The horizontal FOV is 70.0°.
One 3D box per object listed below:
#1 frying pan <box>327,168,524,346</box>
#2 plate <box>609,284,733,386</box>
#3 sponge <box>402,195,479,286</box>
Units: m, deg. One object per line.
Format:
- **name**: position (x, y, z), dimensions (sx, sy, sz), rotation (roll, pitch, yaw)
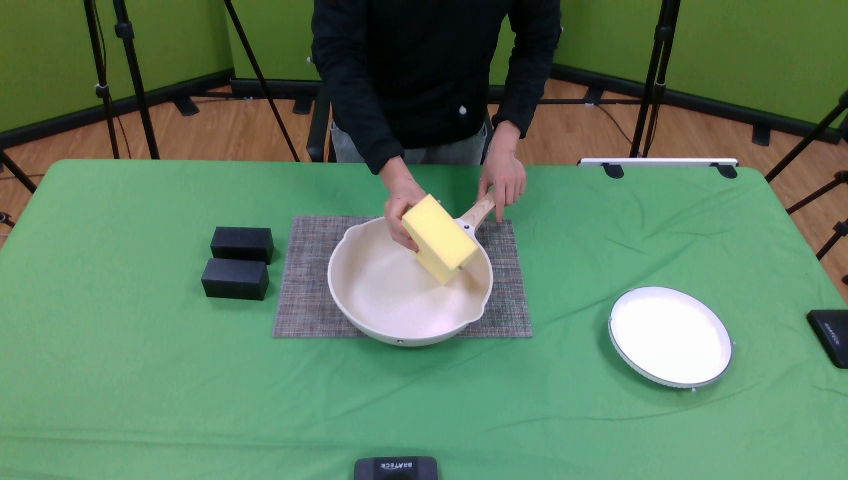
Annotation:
- **frying pan**: position (0.042, 0.009, 1.132), dimensions (0.305, 0.103, 0.487), rotation (34, 61, 24)
- **plate**: position (0.425, 0.167, 1.059), dimensions (0.208, 0.039, 0.206), rotation (2, 46, -2)
- **sponge**: position (0.022, 0.008, 1.049), dimensions (0.061, 0.207, 0.118), rotation (-41, 83, -9)
